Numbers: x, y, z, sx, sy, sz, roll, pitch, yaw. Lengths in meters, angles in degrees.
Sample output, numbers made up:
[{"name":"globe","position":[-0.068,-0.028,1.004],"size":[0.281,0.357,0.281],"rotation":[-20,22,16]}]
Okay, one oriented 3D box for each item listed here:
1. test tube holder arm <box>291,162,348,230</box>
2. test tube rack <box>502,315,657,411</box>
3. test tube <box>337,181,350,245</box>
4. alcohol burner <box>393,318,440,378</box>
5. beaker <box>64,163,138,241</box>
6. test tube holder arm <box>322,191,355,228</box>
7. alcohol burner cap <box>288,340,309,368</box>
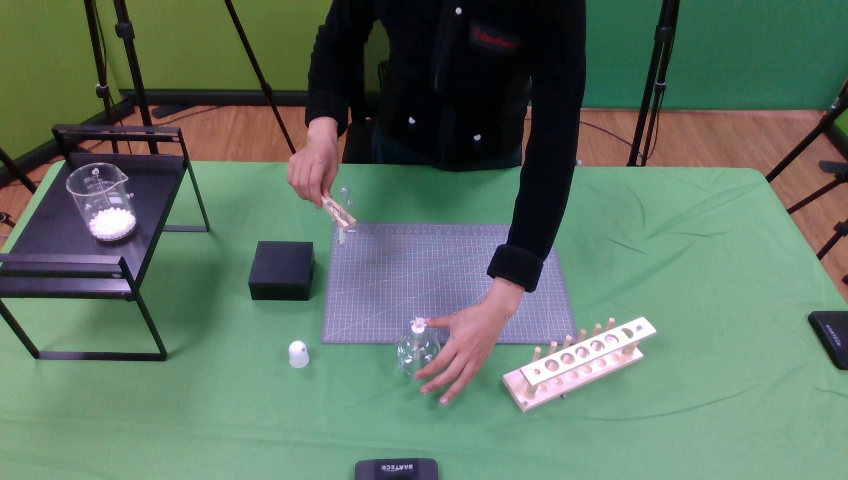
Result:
[{"name":"test tube holder arm","position":[-0.181,-0.078,1.040],"size":[0.013,0.015,0.177],"rotation":[-26,57,-32]},{"name":"test tube rack","position":[0.253,0.187,0.988],"size":[0.242,0.085,0.066],"rotation":[-18,50,-20]},{"name":"test tube","position":[-0.134,-0.042,1.006],"size":[0.017,0.151,0.017],"rotation":[5,51,-6]},{"name":"alcohol burner","position":[-0.012,0.167,0.970],"size":[0.078,0.120,0.077],"rotation":[1,44,0]},{"name":"beaker","position":[-0.477,-0.055,0.910],"size":[0.084,0.101,0.073],"rotation":[-9,48,-13]},{"name":"test tube holder arm","position":[-0.148,-0.052,1.023],"size":[0.087,0.015,0.010],"rotation":[40,52,23]},{"name":"alcohol burner cap","position":[-0.206,0.183,0.991],"size":[0.034,0.048,0.033],"rotation":[3,47,-3]}]
